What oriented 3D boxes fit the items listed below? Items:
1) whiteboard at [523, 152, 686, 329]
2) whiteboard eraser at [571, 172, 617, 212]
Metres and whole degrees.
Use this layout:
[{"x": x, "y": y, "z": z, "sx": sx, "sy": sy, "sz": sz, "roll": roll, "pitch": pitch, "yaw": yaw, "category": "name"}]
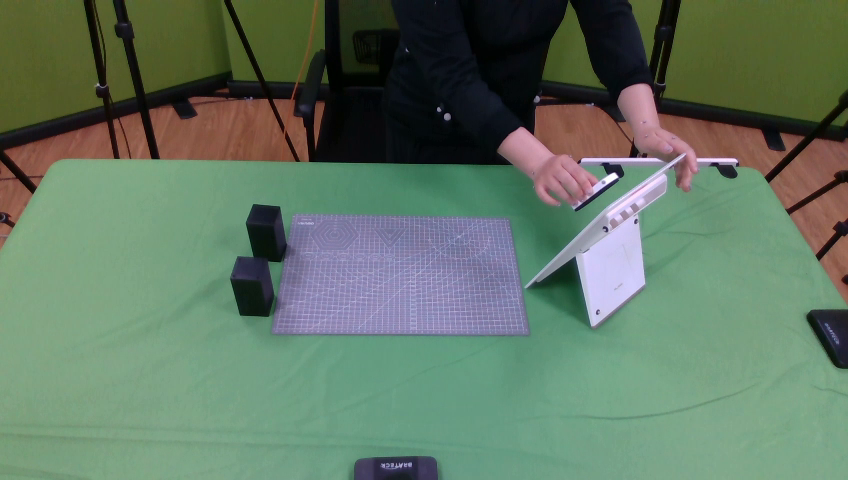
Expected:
[{"x": 0.346, "y": 0.024, "z": 1.047, "sx": 0.217, "sy": 0.306, "sz": 0.143, "roll": -30, "pitch": 74, "yaw": -29, "category": "whiteboard"}, {"x": 0.285, "y": -0.081, "z": 1.017, "sx": 0.041, "sy": 0.101, "sz": 0.019, "roll": -29, "pitch": 78, "yaw": -37, "category": "whiteboard eraser"}]
